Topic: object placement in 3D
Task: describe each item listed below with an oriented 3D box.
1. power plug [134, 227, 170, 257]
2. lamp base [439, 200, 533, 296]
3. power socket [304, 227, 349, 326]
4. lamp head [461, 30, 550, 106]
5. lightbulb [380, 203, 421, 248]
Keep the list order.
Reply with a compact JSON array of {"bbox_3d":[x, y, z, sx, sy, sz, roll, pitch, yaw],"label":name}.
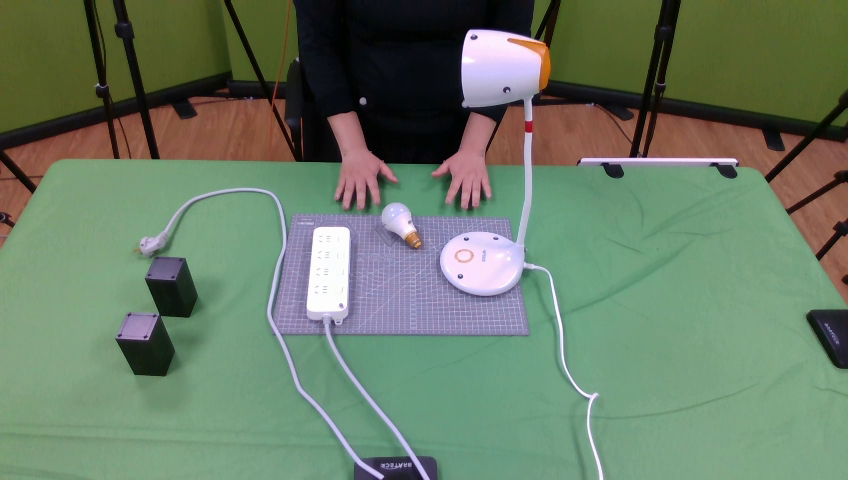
[{"bbox_3d":[-0.515,0.006,1.152,0.052,0.035,0.072,-7,22,7],"label":"power plug"},{"bbox_3d":[0.126,-0.010,1.103,0.179,0.181,0.159,2,46,-6],"label":"lamp base"},{"bbox_3d":[-0.177,0.059,1.115,0.072,0.033,0.225,-1,46,-4],"label":"power socket"},{"bbox_3d":[0.123,-0.250,0.893,0.123,0.113,0.112,8,45,14],"label":"lamp head"},{"bbox_3d":[-0.043,-0.026,1.197,0.059,0.060,0.107,-29,68,-28],"label":"lightbulb"}]
